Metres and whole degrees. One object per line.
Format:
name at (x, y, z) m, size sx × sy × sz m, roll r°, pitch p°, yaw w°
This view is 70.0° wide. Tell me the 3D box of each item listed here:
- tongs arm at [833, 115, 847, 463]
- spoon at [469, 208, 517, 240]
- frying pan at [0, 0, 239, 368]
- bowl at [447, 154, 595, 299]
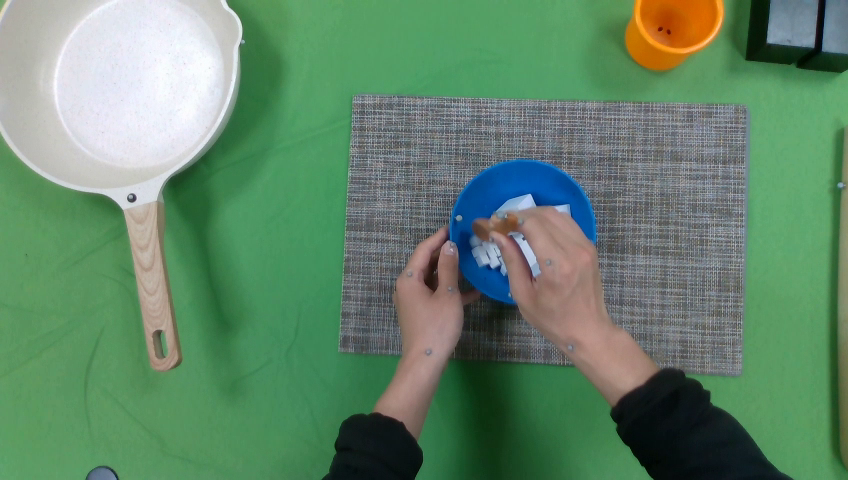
tongs arm at (0.464, 0.055, 0.657) m, size 0.028 × 0.028 × 0.387 m, roll 1°, pitch 88°, yaw 2°
spoon at (0.066, -0.013, 0.554) m, size 0.041 × 0.193 × 0.021 m, roll 28°, pitch 90°, yaw 1°
frying pan at (-0.325, -0.098, 0.675) m, size 0.307 × 0.103 × 0.485 m, roll -14°, pitch 78°, yaw 4°
bowl at (0.101, -0.012, 0.653) m, size 0.151 × 0.077 × 0.151 m, roll 0°, pitch 87°, yaw 5°
